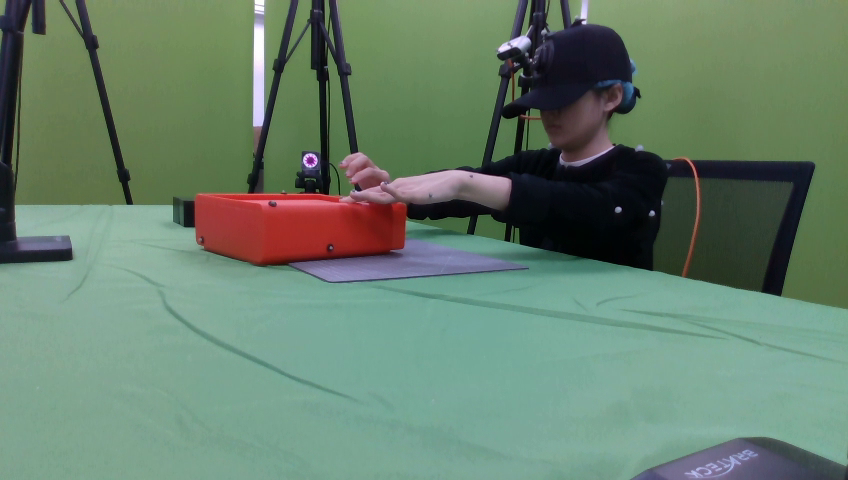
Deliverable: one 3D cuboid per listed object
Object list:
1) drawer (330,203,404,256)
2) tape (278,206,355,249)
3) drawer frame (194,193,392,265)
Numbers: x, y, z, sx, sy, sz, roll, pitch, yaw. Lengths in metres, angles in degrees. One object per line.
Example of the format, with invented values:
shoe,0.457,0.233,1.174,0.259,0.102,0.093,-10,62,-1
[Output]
drawer,-0.170,-0.023,0.899,0.213,0.073,0.193,-6,12,-42
tape,-0.164,-0.020,0.915,0.117,0.052,0.117,4,7,0
drawer frame,-0.190,-0.024,0.883,0.215,0.082,0.200,-5,11,-44
